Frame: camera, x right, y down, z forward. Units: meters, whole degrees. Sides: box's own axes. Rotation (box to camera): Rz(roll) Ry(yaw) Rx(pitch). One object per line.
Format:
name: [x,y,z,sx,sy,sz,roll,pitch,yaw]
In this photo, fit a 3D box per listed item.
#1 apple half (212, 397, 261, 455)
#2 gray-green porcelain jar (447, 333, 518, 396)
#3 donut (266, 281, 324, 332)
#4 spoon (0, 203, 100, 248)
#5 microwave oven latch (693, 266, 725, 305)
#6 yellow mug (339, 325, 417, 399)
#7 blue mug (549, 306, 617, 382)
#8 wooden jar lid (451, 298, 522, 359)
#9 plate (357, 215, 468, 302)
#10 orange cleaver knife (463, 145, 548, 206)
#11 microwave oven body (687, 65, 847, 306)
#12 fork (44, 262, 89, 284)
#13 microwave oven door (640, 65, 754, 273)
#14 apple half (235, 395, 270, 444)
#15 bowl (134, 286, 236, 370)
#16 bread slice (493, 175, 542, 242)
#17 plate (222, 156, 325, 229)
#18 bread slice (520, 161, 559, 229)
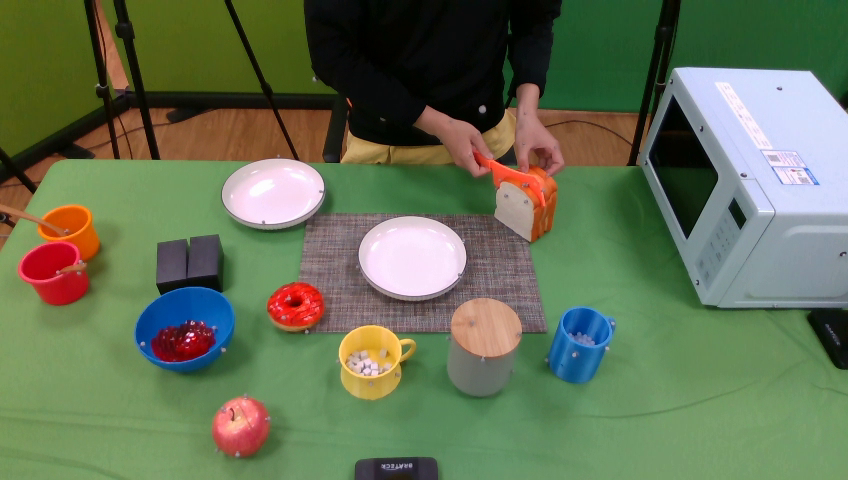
apple half: [-0.276,0.276,0.877,0.053,0.075,0.080,-29,58,-21]
gray-green porcelain jar: [0.091,0.178,0.960,0.106,0.127,0.105,2,46,-2]
donut: [-0.222,0.114,1.049,0.099,0.048,0.098,2,46,-2]
spoon: [-0.683,-0.031,1.088,0.195,0.021,0.041,33,33,-38]
microwave oven latch: [0.523,0.082,1.115,0.030,0.029,0.078,3,46,0]
yellow mug: [-0.072,0.191,0.978,0.131,0.064,0.099,-17,50,-20]
blue mug: [0.269,0.166,0.998,0.116,0.106,0.082,-19,51,-21]
wooden jar lid: [0.093,0.135,0.914,0.108,0.021,0.107,2,48,-3]
plate: [-0.022,0.037,1.141,0.208,0.039,0.206,2,46,-2]
orange cleaver knife: [0.157,-0.128,1.190,0.012,0.077,0.210,-39,51,-24]
microwave oven body: [0.669,-0.111,1.176,0.326,0.261,0.439,0,46,-3]
fork: [-0.598,0.054,1.014,0.207,0.019,0.028,-15,29,45]
microwave oven door: [0.523,-0.147,1.193,0.039,0.245,0.353,0,47,-3]
apple half: [-0.245,0.259,0.893,0.033,0.082,0.081,-29,55,-22]
bowl: [-0.377,0.156,0.981,0.151,0.077,0.150,2,46,-2]
bread slice: [0.182,-0.065,1.192,0.019,0.132,0.104,-36,59,-28]
plate: [-0.308,-0.095,1.251,0.209,0.038,0.208,2,47,-2]
bread slice: [0.228,-0.093,1.224,0.018,0.135,0.106,-34,59,-26]
